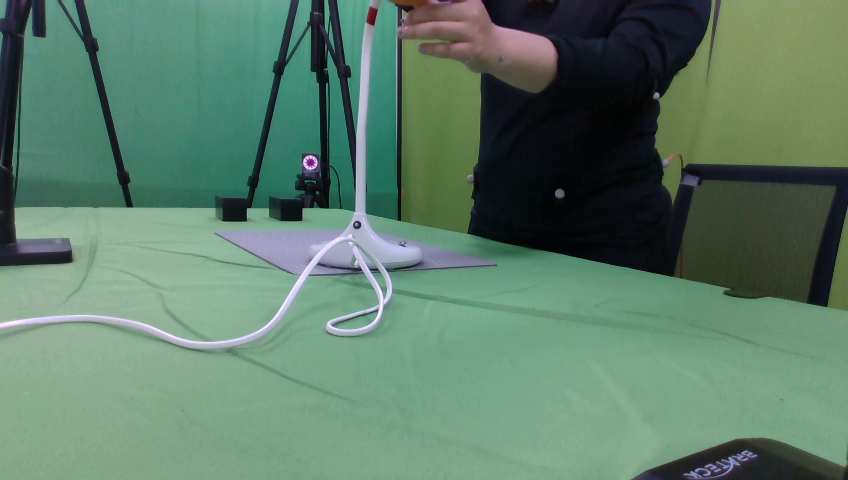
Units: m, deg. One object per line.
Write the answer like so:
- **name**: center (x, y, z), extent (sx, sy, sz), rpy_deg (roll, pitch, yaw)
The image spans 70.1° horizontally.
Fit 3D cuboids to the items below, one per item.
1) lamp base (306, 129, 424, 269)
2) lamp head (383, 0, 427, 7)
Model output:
- **lamp base**: center (-0.077, -0.057, 0.810), extent (0.161, 0.180, 0.179), rpy_deg (2, 10, -4)
- **lamp head**: center (-0.024, -0.325, 0.671), extent (0.112, 0.123, 0.112), rpy_deg (4, 3, 0)
